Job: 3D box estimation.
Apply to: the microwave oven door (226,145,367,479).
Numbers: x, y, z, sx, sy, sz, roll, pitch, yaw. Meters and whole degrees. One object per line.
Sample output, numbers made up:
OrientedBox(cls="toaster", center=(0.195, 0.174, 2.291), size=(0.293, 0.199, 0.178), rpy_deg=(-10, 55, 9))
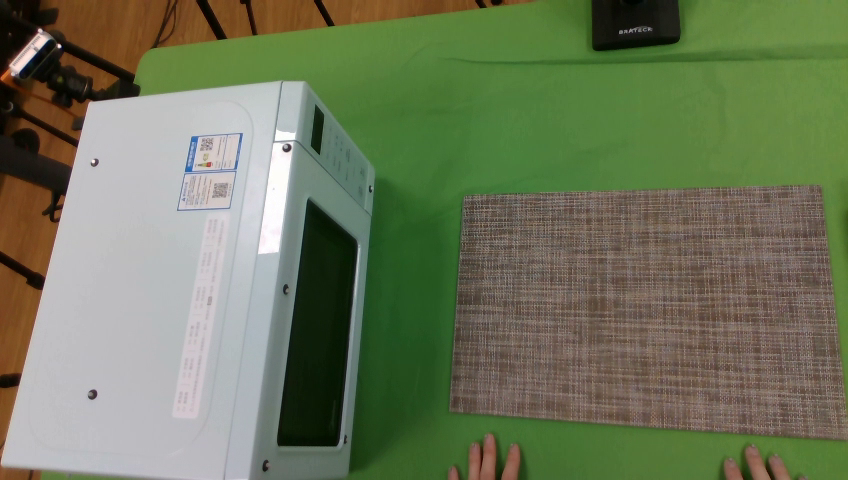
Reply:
OrientedBox(cls="microwave oven door", center=(-0.136, 0.100, 0.717), size=(0.039, 0.246, 0.353), rpy_deg=(-2, 71, 15))

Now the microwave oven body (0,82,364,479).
OrientedBox(cls="microwave oven body", center=(-0.273, 0.067, 0.772), size=(0.325, 0.262, 0.439), rpy_deg=(-2, 72, 14))

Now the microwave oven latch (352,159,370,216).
OrientedBox(cls="microwave oven latch", center=(-0.096, -0.076, 0.876), size=(0.030, 0.030, 0.078), rpy_deg=(-1, 73, 15))
